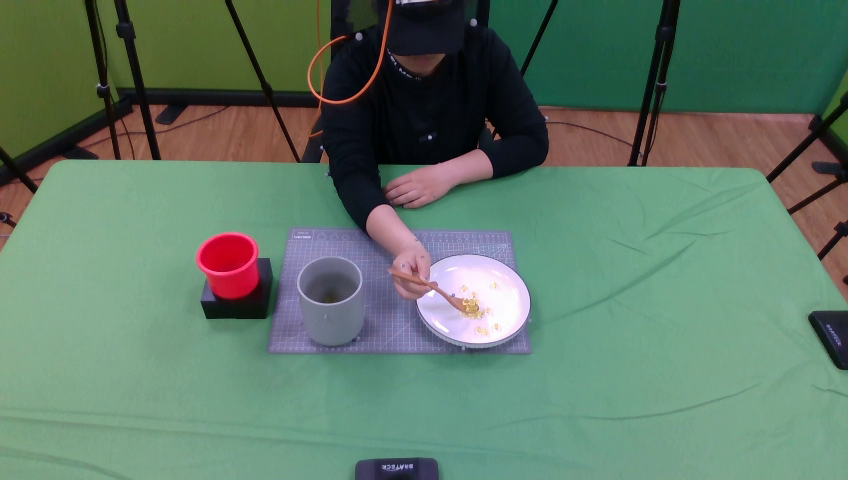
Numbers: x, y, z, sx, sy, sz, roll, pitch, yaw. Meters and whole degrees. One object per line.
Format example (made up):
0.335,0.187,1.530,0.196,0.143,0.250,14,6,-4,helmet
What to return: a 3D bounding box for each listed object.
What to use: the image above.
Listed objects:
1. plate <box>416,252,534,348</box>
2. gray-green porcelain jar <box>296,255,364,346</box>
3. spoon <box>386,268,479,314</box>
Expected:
0.090,0.109,1.084,0.208,0.039,0.206,2,46,-2,plate
-0.153,0.106,1.008,0.106,0.127,0.105,2,46,-2,gray-green porcelain jar
0.017,0.083,1.010,0.195,0.021,0.041,30,19,-30,spoon
